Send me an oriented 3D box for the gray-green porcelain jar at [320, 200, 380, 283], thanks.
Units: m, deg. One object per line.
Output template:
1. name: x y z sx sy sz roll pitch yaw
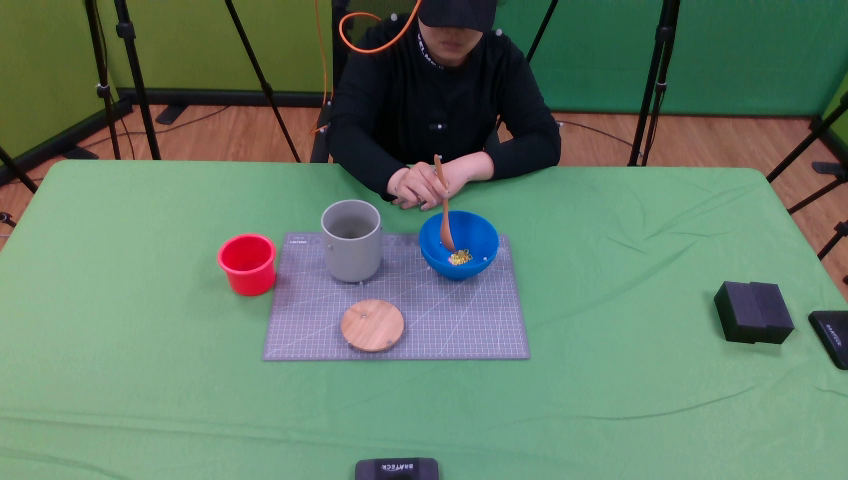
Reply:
1. gray-green porcelain jar: -0.132 0.007 1.106 0.106 0.127 0.105 2 46 -2

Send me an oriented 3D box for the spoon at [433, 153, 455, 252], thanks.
1. spoon: 0.034 -0.063 1.081 0.021 0.194 0.041 -18 27 -24

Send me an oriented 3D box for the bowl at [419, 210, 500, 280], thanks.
1. bowl: 0.062 0.022 1.140 0.151 0.077 0.150 2 46 -2

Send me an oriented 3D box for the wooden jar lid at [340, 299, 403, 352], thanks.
1. wooden jar lid: -0.090 0.150 1.046 0.108 0.021 0.107 3 47 -3
